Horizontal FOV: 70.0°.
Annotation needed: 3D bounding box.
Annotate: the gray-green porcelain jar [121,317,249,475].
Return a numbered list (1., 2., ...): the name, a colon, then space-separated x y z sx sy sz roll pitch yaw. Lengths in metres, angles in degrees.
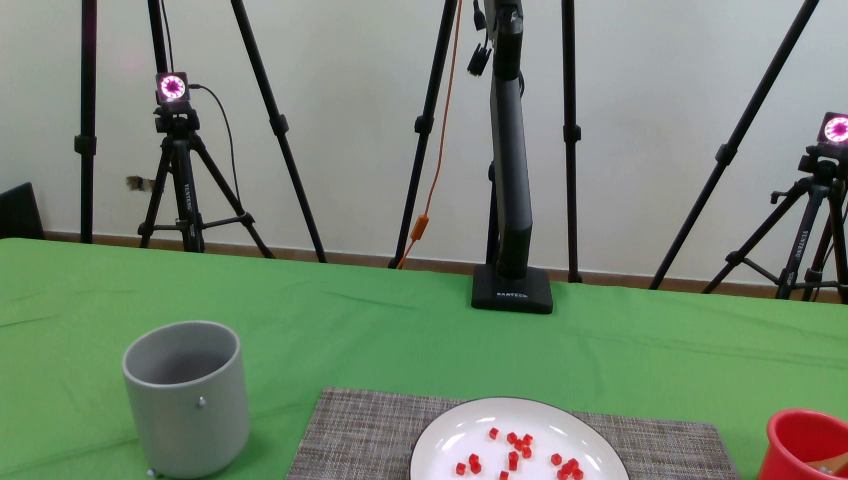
1. gray-green porcelain jar: -0.231 0.157 0.600 0.106 0.127 0.105 2 27 -1

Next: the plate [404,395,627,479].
1. plate: 0.085 0.230 0.574 0.208 0.039 0.206 2 26 -1

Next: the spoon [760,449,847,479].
1. spoon: 0.410 0.195 0.562 0.194 0.022 0.041 -37 16 23
